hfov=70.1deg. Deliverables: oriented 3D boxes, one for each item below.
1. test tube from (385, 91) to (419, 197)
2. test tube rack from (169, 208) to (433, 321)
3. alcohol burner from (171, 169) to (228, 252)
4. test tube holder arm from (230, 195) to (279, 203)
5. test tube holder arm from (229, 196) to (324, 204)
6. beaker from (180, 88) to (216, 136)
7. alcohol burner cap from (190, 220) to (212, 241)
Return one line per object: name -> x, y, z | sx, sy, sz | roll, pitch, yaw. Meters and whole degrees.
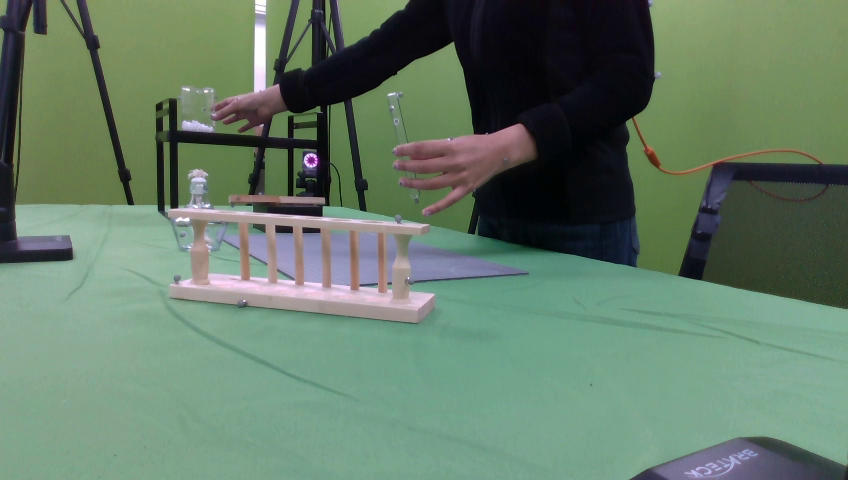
test tube -> -0.030, -0.133, 0.847 | 0.017, 0.150, 0.017 | -12, 12, 3
test tube rack -> -0.115, 0.018, 0.574 | 0.242, 0.085, 0.067 | 4, 8, 14
alcohol burner -> -0.325, -0.043, 0.875 | 0.078, 0.119, 0.078 | 1, 6, 0
test tube holder arm -> -0.311, -0.075, 1.114 | 0.088, 0.015, 0.010 | -2, -3, -30
test tube holder arm -> -0.275, -0.076, 1.142 | 0.179, 0.015, 0.013 | -2, -3, -31
beaker -> -0.498, -0.283, 1.339 | 0.074, 0.100, 0.083 | -2, 9, -28
alcohol burner cap -> -0.364, -0.023, 0.988 | 0.034, 0.048, 0.034 | 2, 8, 0
